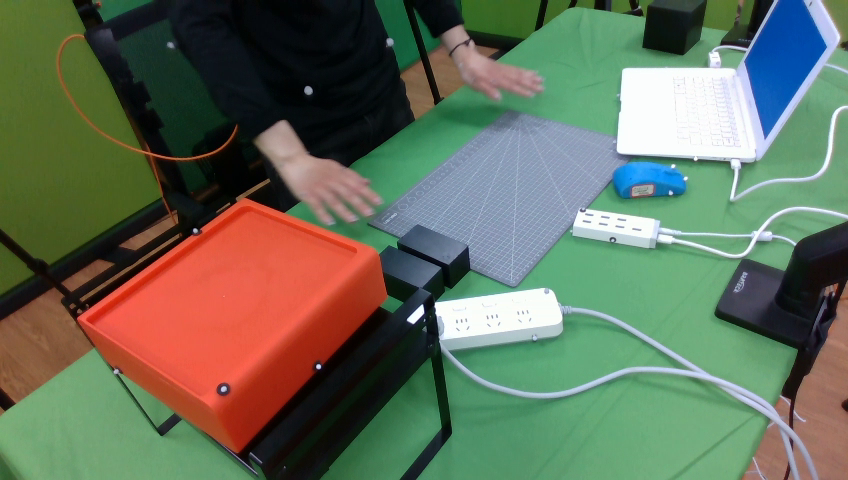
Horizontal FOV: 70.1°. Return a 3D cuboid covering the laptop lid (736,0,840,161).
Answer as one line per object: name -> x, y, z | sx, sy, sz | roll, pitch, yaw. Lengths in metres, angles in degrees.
laptop lid -> 0.641, -0.327, 1.090 | 0.013, 0.242, 0.356 | 16, 43, 5

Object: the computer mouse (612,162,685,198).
computer mouse -> 0.382, -0.103, 1.027 | 0.117, 0.041, 0.062 | 0, 39, 2

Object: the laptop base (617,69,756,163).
laptop base -> 0.509, -0.255, 1.201 | 0.234, 0.023, 0.353 | 4, 41, 16

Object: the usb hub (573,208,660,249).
usb hub -> 0.302, -0.019, 0.949 | 0.124, 0.025, 0.049 | 11, 43, 20

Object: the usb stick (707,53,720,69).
usb stick -> 0.629, -0.382, 1.313 | 0.021, 0.027, 0.059 | 2, 46, 17

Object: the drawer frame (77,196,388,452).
drawer frame -> -0.179, 0.066, 0.598 | 0.200, 0.083, 0.214 | 20, 48, 28

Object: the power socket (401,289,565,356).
power socket -> 0.081, 0.112, 0.822 | 0.227, 0.033, 0.072 | -7, 41, 0

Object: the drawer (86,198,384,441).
drawer -> -0.179, 0.064, 0.600 | 0.193, 0.073, 0.212 | 21, 48, 28

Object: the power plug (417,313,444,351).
power plug -> 0.007, 0.127, 0.786 | 0.035, 0.053, 0.072 | 0, 43, 8
